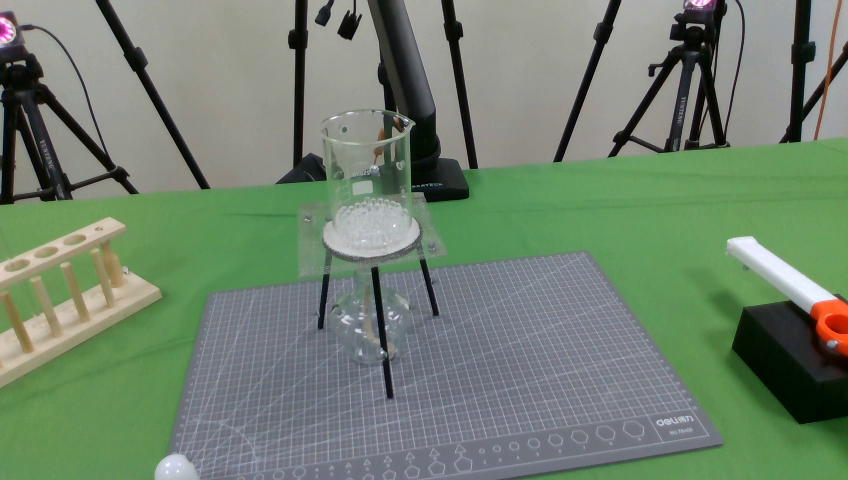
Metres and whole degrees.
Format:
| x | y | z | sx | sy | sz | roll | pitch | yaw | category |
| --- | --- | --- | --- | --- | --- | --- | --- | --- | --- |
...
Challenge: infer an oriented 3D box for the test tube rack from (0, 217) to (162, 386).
| x | y | z | sx | sy | sz | roll | pitch | yaw | category |
| --- | --- | --- | --- | --- | --- | --- | --- | --- | --- |
| -0.395 | 0.071 | 0.596 | 0.066 | 0.086 | 0.242 | 21 | 38 | 32 | test tube rack |

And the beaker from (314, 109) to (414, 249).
| x | y | z | sx | sy | sz | roll | pitch | yaw | category |
| --- | --- | --- | --- | --- | --- | --- | --- | --- | --- |
| -0.045 | -0.051 | 0.508 | 0.084 | 0.101 | 0.073 | -18 | 37 | -25 | beaker |

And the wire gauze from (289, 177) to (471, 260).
| x | y | z | sx | sy | sz | roll | pitch | yaw | category |
| --- | --- | --- | --- | --- | --- | --- | --- | --- | --- |
| -0.041 | -0.020 | 0.521 | 0.125 | 0.011 | 0.120 | -14 | 31 | -27 | wire gauze |

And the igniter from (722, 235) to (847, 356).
| x | y | z | sx | sy | sz | roll | pitch | yaw | category |
| --- | --- | --- | --- | --- | --- | --- | --- | --- | --- |
| 0.360 | 0.066 | 0.537 | 0.057 | 0.025 | 0.273 | -7 | 29 | -8 | igniter |

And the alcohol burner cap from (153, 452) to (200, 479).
| x | y | z | sx | sy | sz | roll | pitch | yaw | category |
| --- | --- | --- | --- | --- | --- | --- | --- | --- | --- |
| -0.183 | 0.178 | 0.449 | 0.034 | 0.048 | 0.033 | 1 | 33 | 0 | alcohol burner cap |

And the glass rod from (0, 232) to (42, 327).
| x | y | z | sx | sy | sz | roll | pitch | yaw | category |
| --- | --- | --- | --- | --- | --- | --- | --- | --- | --- |
| -0.409 | 0.001 | 0.584 | 0.008 | 0.201 | 0.008 | -5 | 25 | 3 | glass rod |

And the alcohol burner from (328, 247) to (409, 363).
| x | y | z | sx | sy | sz | roll | pitch | yaw | category |
| --- | --- | --- | --- | --- | --- | --- | --- | --- | --- |
| -0.053 | 0.057 | 0.571 | 0.078 | 0.120 | 0.077 | 0 | 31 | 0 | alcohol burner |

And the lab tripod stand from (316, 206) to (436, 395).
| x | y | z | sx | sy | sz | roll | pitch | yaw | category |
| --- | --- | --- | --- | --- | --- | --- | --- | --- | --- |
| -0.044 | 0.048 | 0.567 | 0.148 | 0.132 | 0.147 | 0 | 33 | 0 | lab tripod stand |
